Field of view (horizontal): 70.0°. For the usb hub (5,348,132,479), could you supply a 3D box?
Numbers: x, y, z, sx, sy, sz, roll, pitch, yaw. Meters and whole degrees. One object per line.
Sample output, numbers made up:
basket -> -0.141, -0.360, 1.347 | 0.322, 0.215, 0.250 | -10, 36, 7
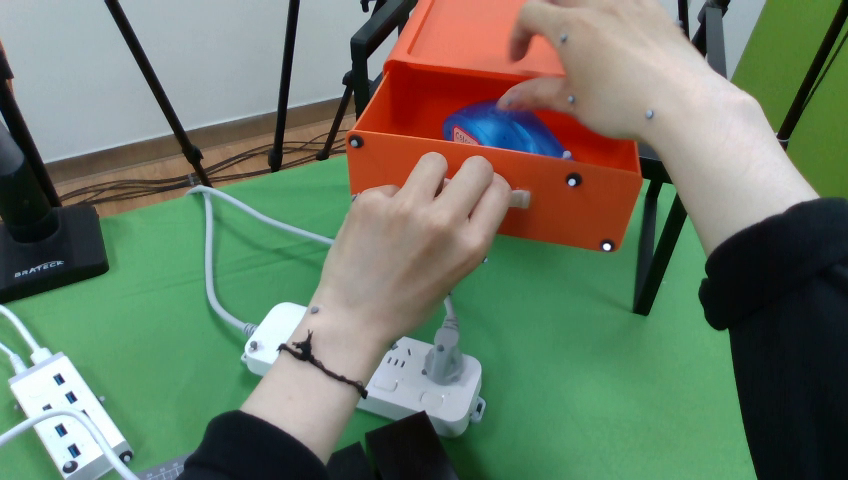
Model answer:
usb hub -> -0.297, 0.144, 0.503 | 0.124, 0.025, 0.049 | 34, 52, 30

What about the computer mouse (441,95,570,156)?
computer mouse -> 0.066, -0.079, 0.479 | 0.063, 0.041, 0.116 | -20, 51, -26

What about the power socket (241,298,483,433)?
power socket -> -0.056, 0.110, 0.546 | 0.226, 0.033, 0.072 | 14, 43, 14

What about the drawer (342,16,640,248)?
drawer -> 0.061, -0.100, 0.480 | 0.194, 0.074, 0.210 | 9, 44, 8

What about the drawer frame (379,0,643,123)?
drawer frame -> 0.081, -0.169, 0.551 | 0.201, 0.083, 0.212 | 8, 43, 6

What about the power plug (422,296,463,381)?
power plug -> 0.025, 0.093, 0.534 | 0.035, 0.053, 0.072 | 23, 48, 23
